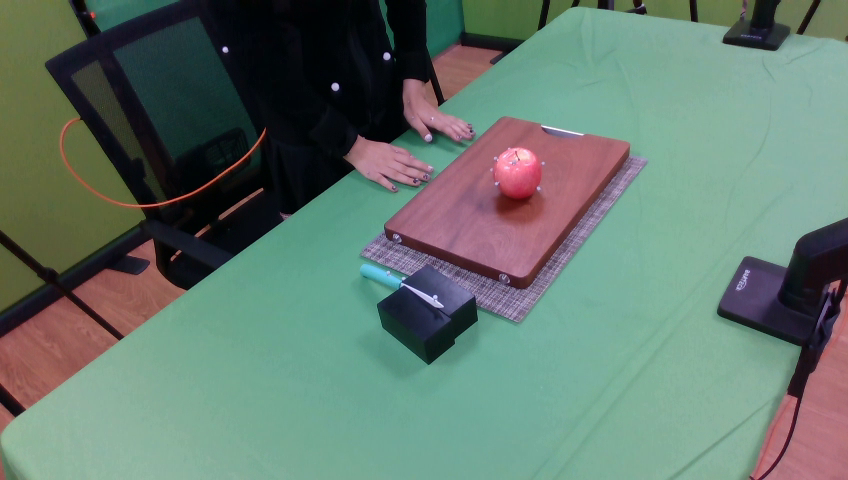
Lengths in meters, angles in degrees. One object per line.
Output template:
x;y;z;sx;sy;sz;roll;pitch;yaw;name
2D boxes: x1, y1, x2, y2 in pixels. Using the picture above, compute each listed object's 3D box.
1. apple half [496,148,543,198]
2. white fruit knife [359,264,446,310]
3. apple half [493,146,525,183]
0.164;-0.104;0.991;0.081;0.075;0.053;-31;48;-29;apple half
-0.034;0.066;0.870;0.016;0.027;0.205;-38;33;-26;white fruit knife
0.139;-0.122;1.015;0.081;0.081;0.032;-34;50;-25;apple half
